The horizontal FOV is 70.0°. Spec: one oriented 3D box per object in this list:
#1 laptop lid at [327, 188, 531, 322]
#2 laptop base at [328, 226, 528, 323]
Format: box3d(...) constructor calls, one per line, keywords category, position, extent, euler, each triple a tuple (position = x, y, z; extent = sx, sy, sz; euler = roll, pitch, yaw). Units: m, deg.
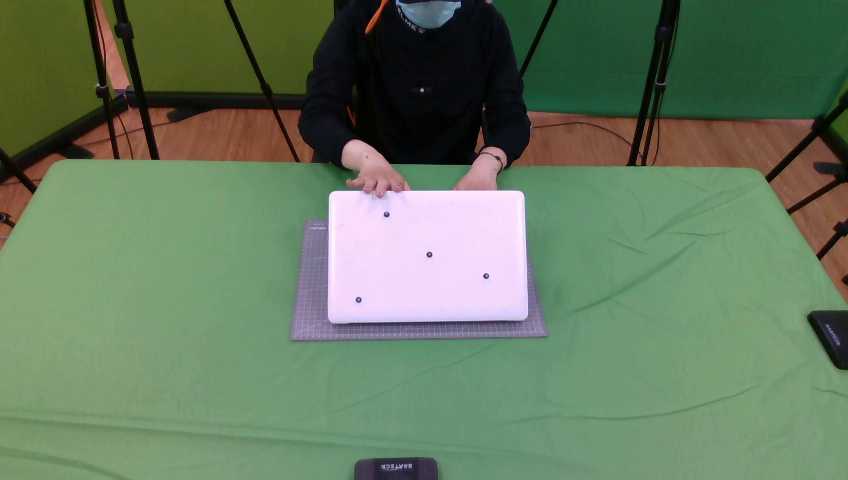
box3d(category="laptop lid", position=(0.009, 0.024, 1.061), extent=(0.357, 0.013, 0.241), euler=(1, 82, -3))
box3d(category="laptop base", position=(0.005, 0.061, 1.137), extent=(0.355, 0.023, 0.234), euler=(0, 44, -4))
